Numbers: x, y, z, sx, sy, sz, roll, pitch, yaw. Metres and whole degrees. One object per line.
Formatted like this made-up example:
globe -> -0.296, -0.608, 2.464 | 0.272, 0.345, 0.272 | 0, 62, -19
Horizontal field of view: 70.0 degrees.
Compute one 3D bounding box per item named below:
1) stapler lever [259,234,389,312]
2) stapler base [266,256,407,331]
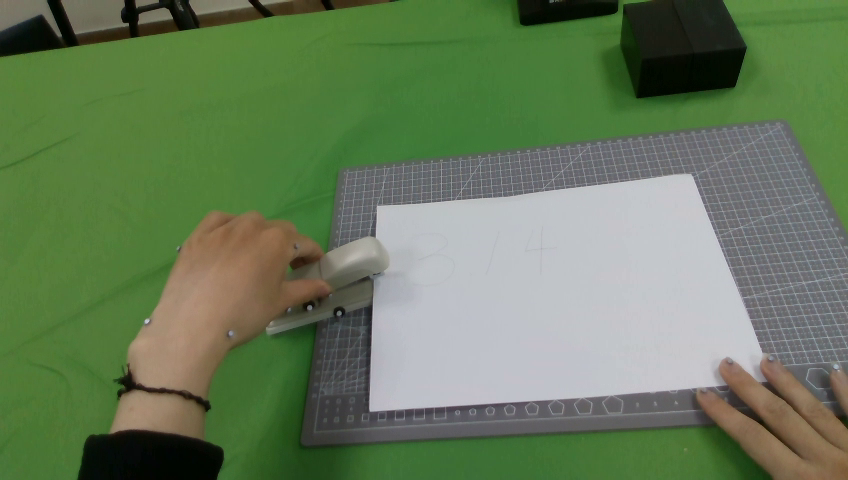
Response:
stapler lever -> -0.087, 0.028, 0.516 | 0.118, 0.040, 0.026 | -17, 49, -1
stapler base -> -0.081, 0.042, 0.535 | 0.130, 0.025, 0.041 | -18, 49, 0
